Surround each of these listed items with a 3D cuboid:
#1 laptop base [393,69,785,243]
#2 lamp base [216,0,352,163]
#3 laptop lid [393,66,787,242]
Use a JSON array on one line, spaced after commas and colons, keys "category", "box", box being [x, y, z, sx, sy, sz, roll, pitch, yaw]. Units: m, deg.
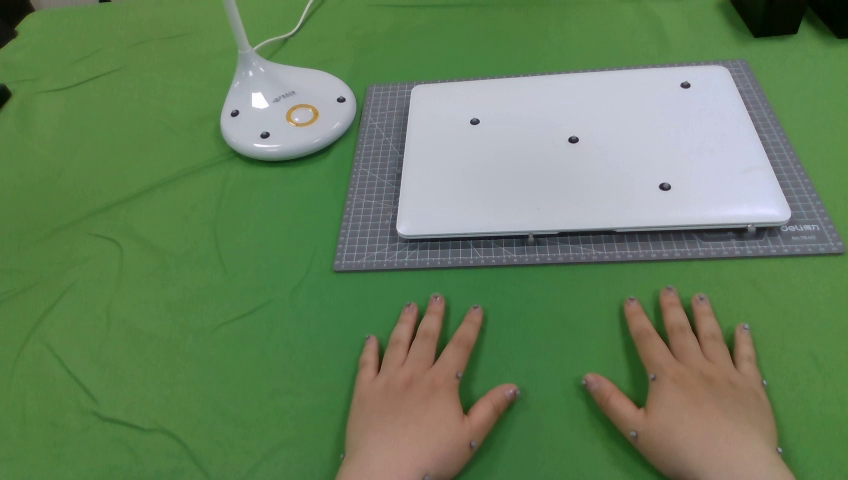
[{"category": "laptop base", "box": [0.150, -0.090, 0.626, 0.354, 0.023, 0.233, -2, 51, 6]}, {"category": "lamp base", "box": [-0.182, -0.203, 0.667, 0.177, 0.182, 0.160, 29, 58, 33]}, {"category": "laptop lid", "box": [0.149, -0.096, 0.616, 0.356, 0.013, 0.239, -1, 51, 7]}]
